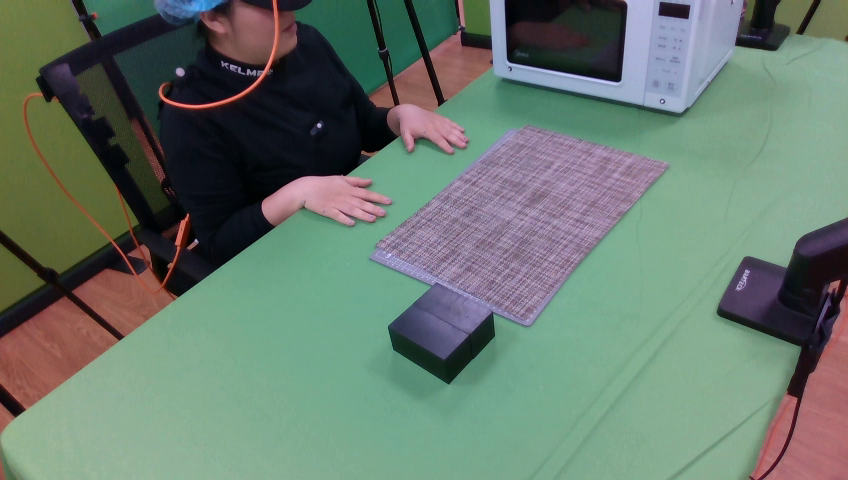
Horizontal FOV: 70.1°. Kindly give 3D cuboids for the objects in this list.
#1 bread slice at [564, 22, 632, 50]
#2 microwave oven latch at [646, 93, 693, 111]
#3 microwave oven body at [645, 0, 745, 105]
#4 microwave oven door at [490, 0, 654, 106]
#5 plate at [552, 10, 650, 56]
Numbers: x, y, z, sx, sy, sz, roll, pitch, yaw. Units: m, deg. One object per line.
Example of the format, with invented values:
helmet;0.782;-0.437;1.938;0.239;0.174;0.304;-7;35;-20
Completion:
bread slice;0.394;-0.454;1.344;0.105;0.019;0.130;-36;43;-26
microwave oven latch;0.477;-0.273;1.177;0.078;0.029;0.030;22;50;33
microwave oven body;0.416;-0.486;1.290;0.438;0.261;0.327;21;50;33
microwave oven door;0.292;-0.420;1.228;0.353;0.245;0.039;22;49;32
plate;0.390;-0.455;1.339;0.209;0.038;0.208;-6;39;5
